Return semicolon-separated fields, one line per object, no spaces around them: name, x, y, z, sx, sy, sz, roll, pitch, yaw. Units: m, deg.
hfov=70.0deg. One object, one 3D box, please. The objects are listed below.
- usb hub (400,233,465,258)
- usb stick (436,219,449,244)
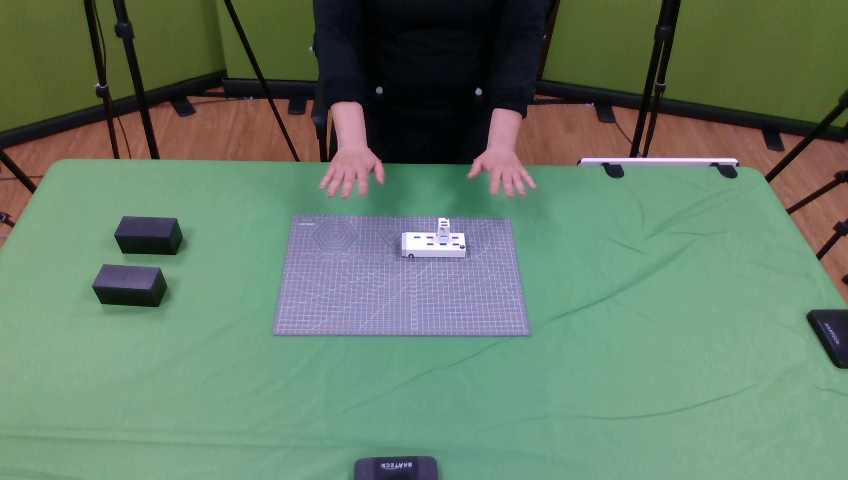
usb hub;0.017;0.011;1.182;0.125;0.025;0.049;1;46;-3
usb stick;0.035;-0.012;1.166;0.021;0.059;0.027;-2;48;-6
